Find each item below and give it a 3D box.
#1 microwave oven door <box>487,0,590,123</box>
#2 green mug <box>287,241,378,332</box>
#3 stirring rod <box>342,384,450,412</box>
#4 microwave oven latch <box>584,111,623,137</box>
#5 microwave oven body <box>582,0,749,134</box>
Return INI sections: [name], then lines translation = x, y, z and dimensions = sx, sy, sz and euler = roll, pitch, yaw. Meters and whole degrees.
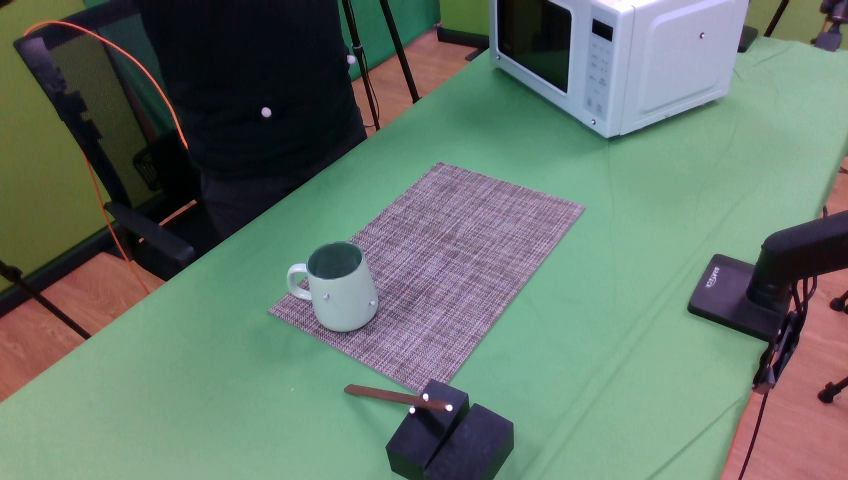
[microwave oven door]
translation = 0.232, -0.420, 1.231
dimensions = 0.039, 0.245, 0.352
euler = -22, 43, -16
[green mug]
translation = -0.131, 0.065, 0.843
dimensions = 0.125, 0.105, 0.092
euler = 3, 42, 12
[stirring rod]
translation = -0.038, 0.186, 0.714
dimensions = 0.175, 0.006, 0.014
euler = -3, 22, 43
[microwave oven latch]
translation = 0.337, -0.222, 1.142
dimensions = 0.030, 0.029, 0.078
euler = -21, 42, -14
[microwave oven body]
translation = 0.382, -0.444, 1.246
dimensions = 0.327, 0.261, 0.437
euler = -22, 42, -16
